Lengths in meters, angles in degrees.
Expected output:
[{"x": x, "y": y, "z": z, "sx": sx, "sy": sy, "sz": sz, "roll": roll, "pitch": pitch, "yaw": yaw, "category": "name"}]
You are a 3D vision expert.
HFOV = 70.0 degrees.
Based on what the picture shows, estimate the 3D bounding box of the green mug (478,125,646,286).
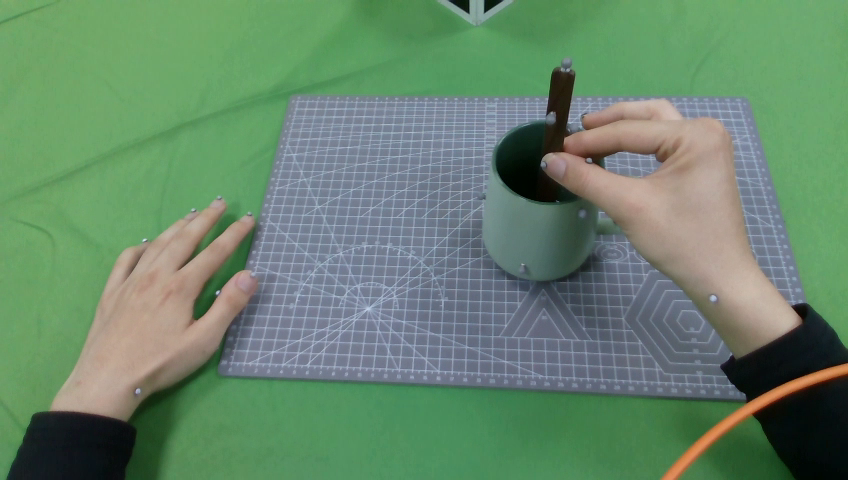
[{"x": 0.105, "y": -0.023, "z": 0.467, "sx": 0.125, "sy": 0.106, "sz": 0.091, "roll": 3, "pitch": 58, "yaw": 5, "category": "green mug"}]

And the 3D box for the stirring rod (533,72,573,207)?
[{"x": 0.083, "y": -0.042, "z": 0.411, "sx": 0.014, "sy": 0.178, "sz": 0.006, "roll": 16, "pitch": 57, "yaw": 15, "category": "stirring rod"}]
